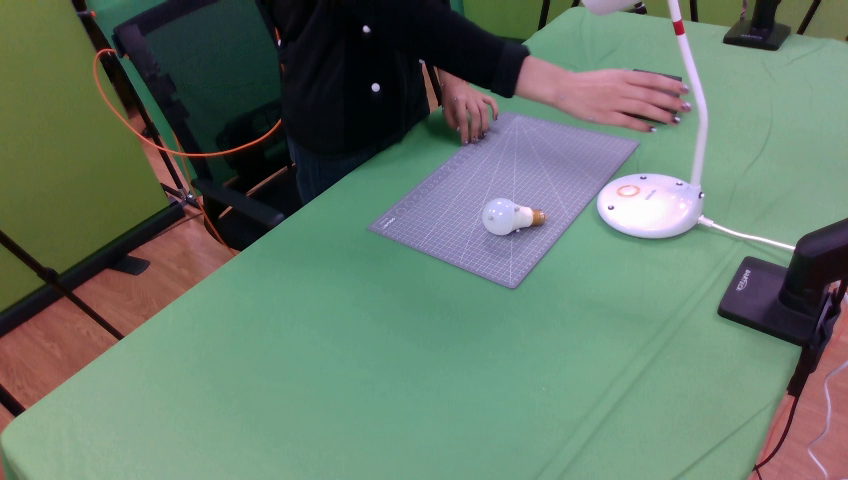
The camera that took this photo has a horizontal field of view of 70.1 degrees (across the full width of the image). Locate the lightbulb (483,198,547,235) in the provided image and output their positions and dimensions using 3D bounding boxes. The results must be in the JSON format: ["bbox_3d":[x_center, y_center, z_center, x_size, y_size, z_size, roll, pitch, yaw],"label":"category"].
[{"bbox_3d":[0.147,-0.037,0.973,0.108,0.059,0.059,1,39,-12],"label":"lightbulb"}]

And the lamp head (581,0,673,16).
[{"bbox_3d":[0.261,-0.338,0.737,0.122,0.113,0.112,9,42,42],"label":"lamp head"}]

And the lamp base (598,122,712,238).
[{"bbox_3d":[0.365,-0.113,0.925,0.178,0.181,0.161,20,48,26],"label":"lamp base"}]
